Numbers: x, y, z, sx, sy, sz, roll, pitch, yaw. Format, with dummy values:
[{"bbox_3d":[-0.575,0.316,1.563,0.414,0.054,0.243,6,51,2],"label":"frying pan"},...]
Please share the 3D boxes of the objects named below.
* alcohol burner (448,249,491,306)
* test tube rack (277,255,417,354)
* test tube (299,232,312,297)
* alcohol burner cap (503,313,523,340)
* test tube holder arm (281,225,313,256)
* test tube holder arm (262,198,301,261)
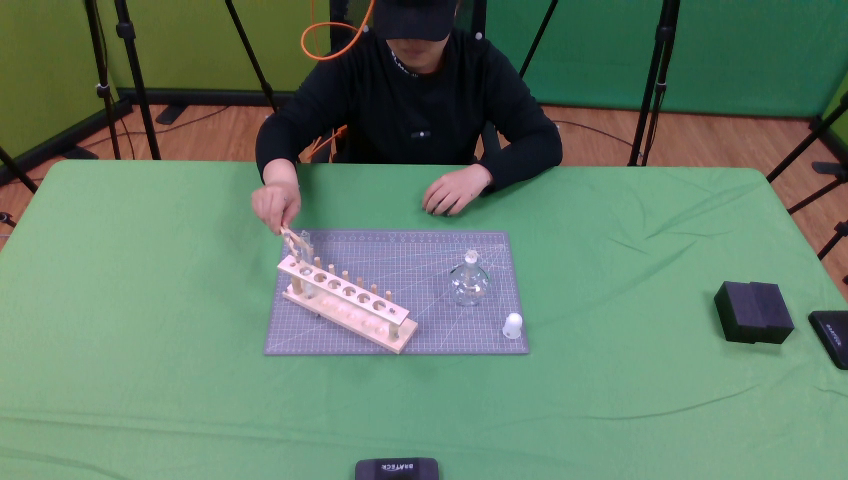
[{"bbox_3d":[0.081,0.062,1.078,0.078,0.120,0.077,1,45,-1],"label":"alcohol burner"},{"bbox_3d":[-0.131,0.099,1.045,0.241,0.085,0.066,23,49,17],"label":"test tube rack"},{"bbox_3d":[-0.199,0.044,1.023,0.017,0.151,0.017,4,44,-4],"label":"test tube"},{"bbox_3d":[0.156,0.147,1.051,0.034,0.048,0.033,1,45,-1],"label":"alcohol burner cap"},{"bbox_3d":[-0.221,0.000,1.037,0.087,0.015,0.010,33,48,29],"label":"test tube holder arm"},{"bbox_3d":[-0.252,-0.022,1.061,0.013,0.015,0.177,-18,45,-26],"label":"test tube holder arm"}]
